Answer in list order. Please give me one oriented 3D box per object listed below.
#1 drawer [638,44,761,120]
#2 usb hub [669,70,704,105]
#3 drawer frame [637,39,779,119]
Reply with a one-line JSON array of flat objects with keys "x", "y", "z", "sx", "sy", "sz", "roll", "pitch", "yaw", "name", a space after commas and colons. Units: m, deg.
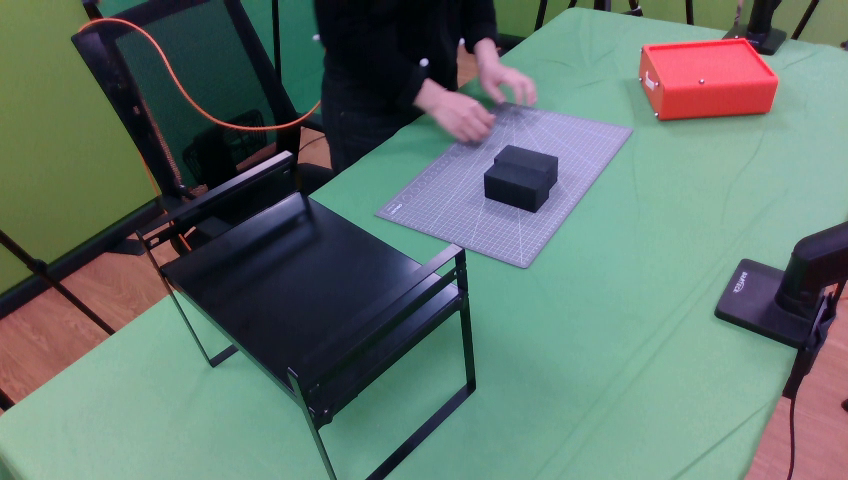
[{"x": 0.561, "y": -0.327, "z": 1.230, "sx": 0.212, "sy": 0.073, "sz": 0.193, "roll": -2, "pitch": 41, "yaw": 4, "name": "drawer"}, {"x": 0.533, "y": -0.310, "z": 1.229, "sx": 0.049, "sy": 0.025, "sz": 0.125, "roll": -9, "pitch": 30, "yaw": 18, "name": "usb hub"}, {"x": 0.563, "y": -0.329, "z": 1.227, "sx": 0.213, "sy": 0.083, "sz": 0.201, "roll": -2, "pitch": 40, "yaw": 5, "name": "drawer frame"}]
